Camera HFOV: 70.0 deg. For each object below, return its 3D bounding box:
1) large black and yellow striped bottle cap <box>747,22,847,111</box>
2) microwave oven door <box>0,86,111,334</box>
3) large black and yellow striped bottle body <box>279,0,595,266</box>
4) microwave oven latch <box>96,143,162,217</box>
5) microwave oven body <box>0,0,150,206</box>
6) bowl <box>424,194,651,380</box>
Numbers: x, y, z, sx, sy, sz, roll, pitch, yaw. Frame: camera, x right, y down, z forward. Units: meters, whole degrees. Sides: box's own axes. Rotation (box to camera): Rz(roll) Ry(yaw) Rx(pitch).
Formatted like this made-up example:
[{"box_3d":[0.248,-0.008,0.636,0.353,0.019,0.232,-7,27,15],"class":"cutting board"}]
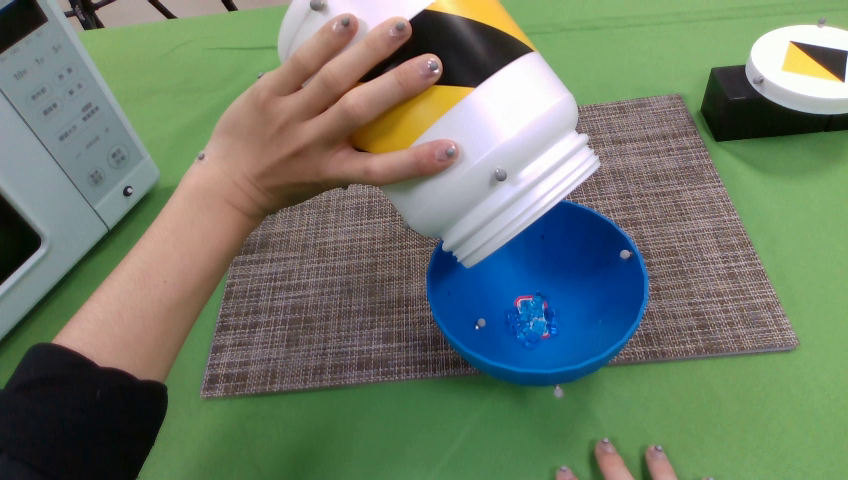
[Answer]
[{"box_3d":[0.357,-0.159,0.548,0.115,0.019,0.114,-5,50,6],"class":"large black and yellow striped bottle cap"},{"box_3d":[-0.402,0.032,0.397,0.039,0.246,0.354,17,55,21],"class":"microwave oven door"},{"box_3d":[0.011,-0.088,0.386,0.131,0.131,0.184,-36,90,-19],"class":"large black and yellow striped bottle body"},{"box_3d":[-0.292,-0.061,0.591,0.030,0.030,0.079,19,57,22],"class":"microwave oven latch"},{"box_3d":[-0.513,-0.034,0.474,0.324,0.263,0.439,17,56,20],"class":"microwave oven body"},{"box_3d":[0.079,0.044,0.442,0.151,0.077,0.150,-4,50,6],"class":"bowl"}]
